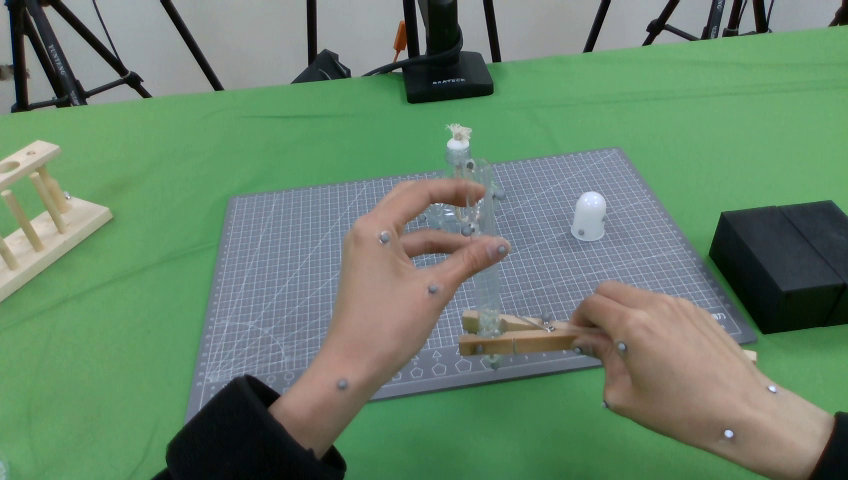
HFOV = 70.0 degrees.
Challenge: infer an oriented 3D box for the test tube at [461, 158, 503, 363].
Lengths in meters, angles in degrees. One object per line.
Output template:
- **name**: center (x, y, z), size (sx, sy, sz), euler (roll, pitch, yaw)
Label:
- **test tube**: center (0.037, 0.020, 0.371), size (0.017, 0.151, 0.017), euler (-6, 34, 4)

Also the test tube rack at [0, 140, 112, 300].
- **test tube rack**: center (-0.425, 0.008, 0.566), size (0.066, 0.086, 0.241), euler (16, 44, 21)

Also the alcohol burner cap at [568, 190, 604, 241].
- **alcohol burner cap**: center (0.157, -0.025, 0.582), size (0.034, 0.048, 0.033), euler (-3, 40, 3)

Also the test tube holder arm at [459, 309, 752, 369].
- **test tube holder arm**: center (0.109, 0.062, 0.386), size (0.178, 0.015, 0.013), euler (5, 41, 17)

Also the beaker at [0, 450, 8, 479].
- **beaker**: center (-0.332, 0.143, 0.391), size (0.084, 0.101, 0.073), euler (-24, 44, -21)

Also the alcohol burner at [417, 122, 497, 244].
- **alcohol burner**: center (0.030, -0.056, 0.573), size (0.078, 0.120, 0.077), euler (-3, 39, 3)

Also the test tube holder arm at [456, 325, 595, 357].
- **test tube holder arm**: center (0.065, 0.065, 0.391), size (0.088, 0.015, 0.010), euler (-6, 38, 4)
